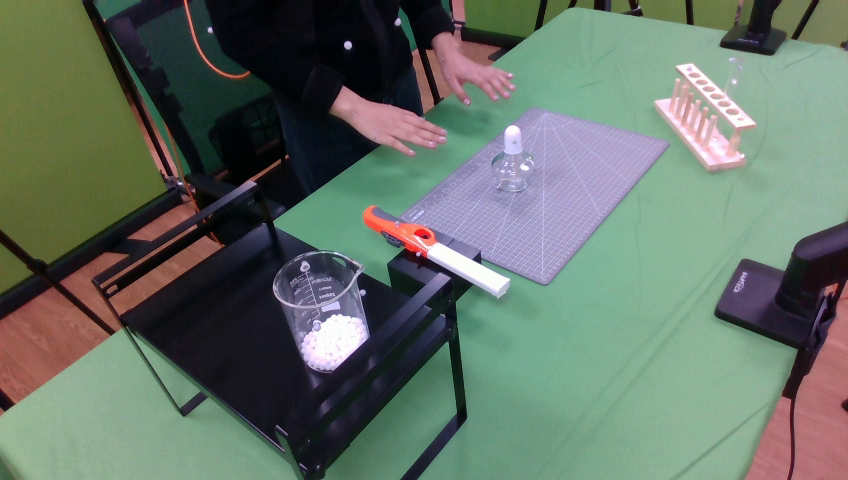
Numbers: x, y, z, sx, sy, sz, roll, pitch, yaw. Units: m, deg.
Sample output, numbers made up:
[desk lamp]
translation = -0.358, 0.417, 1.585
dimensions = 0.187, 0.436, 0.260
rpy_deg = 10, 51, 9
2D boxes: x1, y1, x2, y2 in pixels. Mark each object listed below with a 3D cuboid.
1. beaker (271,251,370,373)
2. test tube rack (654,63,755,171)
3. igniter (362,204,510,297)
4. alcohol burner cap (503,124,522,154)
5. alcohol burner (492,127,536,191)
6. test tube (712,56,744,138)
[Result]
[beaker]
translation = -0.090, 0.069, 0.571
dimensions = 0.084, 0.101, 0.073
rpy_deg = -19, 42, -13
[test tube rack]
translation = 0.510, -0.233, 1.120
dimensions = 0.067, 0.085, 0.241
rpy_deg = -8, 41, -1
[igniter]
translation = 0.006, 0.009, 0.887
dimensions = 0.274, 0.025, 0.057
rpy_deg = 29, 50, 32
[alcohol burner cap]
translation = 0.151, -0.173, 1.022
dimensions = 0.034, 0.048, 0.033
rpy_deg = -4, 36, 3
[alcohol burner]
translation = 0.155, -0.146, 1.046
dimensions = 0.078, 0.119, 0.077
rpy_deg = -4, 43, 4
[test tube]
translation = 0.530, -0.246, 1.056
dimensions = 0.017, 0.151, 0.017
rpy_deg = -1, 38, 1
